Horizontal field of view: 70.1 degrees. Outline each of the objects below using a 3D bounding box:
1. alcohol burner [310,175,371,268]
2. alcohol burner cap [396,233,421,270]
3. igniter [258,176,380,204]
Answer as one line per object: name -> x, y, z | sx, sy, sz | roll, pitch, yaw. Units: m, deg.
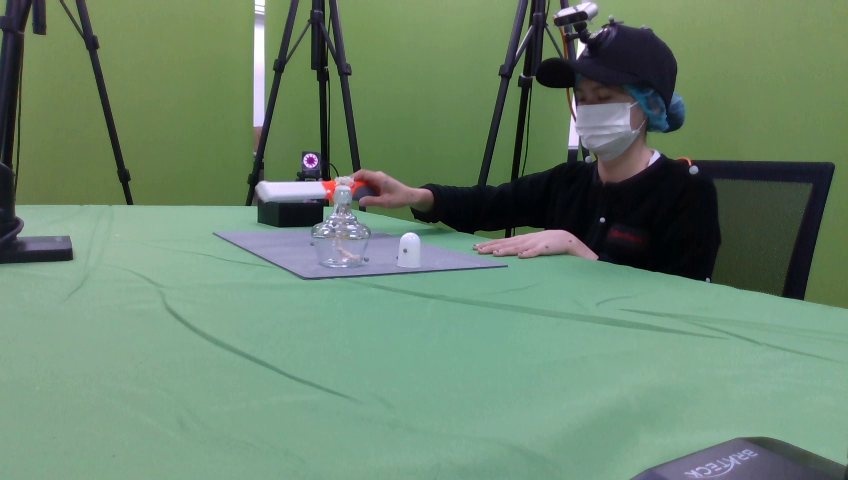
alcohol burner -> -0.107, -0.024, 0.778 | 0.078, 0.119, 0.078 | 3, 5, 0
alcohol burner cap -> -0.020, 0.014, 0.795 | 0.034, 0.048, 0.034 | 2, 6, 0
igniter -> -0.170, -0.086, 1.048 | 0.025, 0.057, 0.278 | -38, -17, 30
